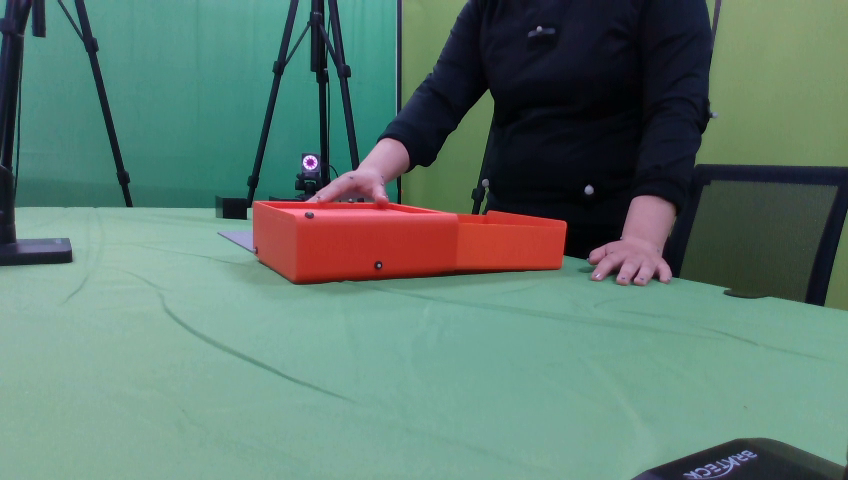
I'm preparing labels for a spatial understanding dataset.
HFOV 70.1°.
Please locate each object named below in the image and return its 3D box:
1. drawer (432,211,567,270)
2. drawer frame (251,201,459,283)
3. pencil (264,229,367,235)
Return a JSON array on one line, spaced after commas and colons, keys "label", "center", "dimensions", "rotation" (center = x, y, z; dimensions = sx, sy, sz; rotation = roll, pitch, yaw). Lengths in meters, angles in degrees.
[{"label": "drawer", "center": [0.063, -0.005, 0.878], "dimensions": [0.213, 0.073, 0.193], "rotation": [1, 7, -30]}, {"label": "drawer frame", "center": [-0.095, -0.005, 0.788], "dimensions": [0.215, 0.082, 0.200], "rotation": [-2, 9, -30]}, {"label": "pencil", "center": [-0.195, -0.014, 1.109], "dimensions": [0.195, 0.012, 0.012], "rotation": [0, 7, -28]}]
